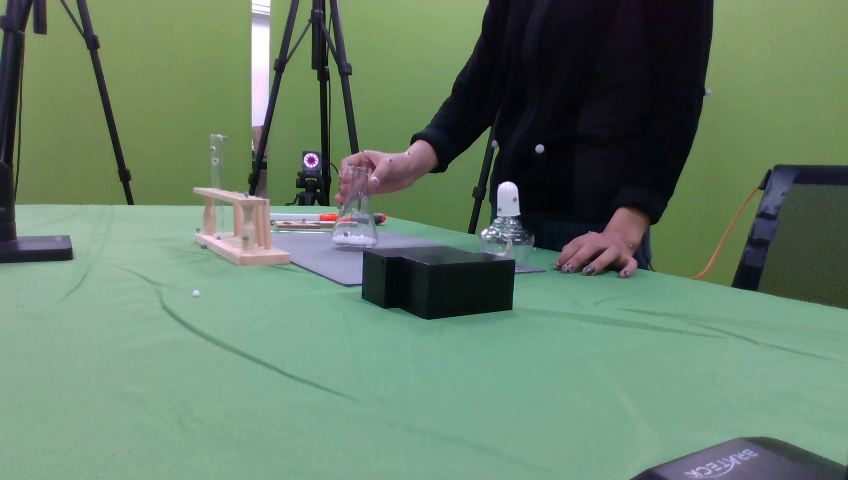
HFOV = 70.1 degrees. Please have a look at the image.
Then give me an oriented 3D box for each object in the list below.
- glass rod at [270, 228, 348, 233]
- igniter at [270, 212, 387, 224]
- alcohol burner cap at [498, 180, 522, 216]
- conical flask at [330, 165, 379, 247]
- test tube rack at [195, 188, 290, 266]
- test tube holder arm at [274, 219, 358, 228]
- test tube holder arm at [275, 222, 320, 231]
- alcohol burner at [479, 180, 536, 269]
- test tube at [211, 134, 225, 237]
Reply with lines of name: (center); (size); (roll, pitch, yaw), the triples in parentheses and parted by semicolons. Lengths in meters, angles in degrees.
glass rod: (-0.234, -0.017, 1.104); (0.201, 0.008, 0.008); (1, 7, -26)
igniter: (-0.213, -0.048, 1.278); (0.278, 0.025, 0.057); (-1, -2, -25)
alcohol burner cap: (0.114, -0.056, 0.809); (0.034, 0.048, 0.034); (-5, 12, 1)
conical flask: (-0.102, -0.052, 0.922); (0.075, 0.122, 0.075); (5, 2, 0)
test tube rack: (-0.266, -0.025, 0.864); (0.067, 0.085, 0.241); (-2, 9, -33)
test tube holder arm: (-0.206, -0.032, 1.177); (0.179, 0.015, 0.013); (-4, 46, -40)
test tube holder arm: (-0.238, -0.026, 1.145); (0.088, 0.015, 0.010); (-3, 45, -39)
alcohol burner: (0.114, -0.021, 0.816); (0.078, 0.119, 0.078); (2, 9, 0)
test tube: (-0.300, -0.078, 0.881); (0.017, 0.150, 0.017); (3, 12, 0)
